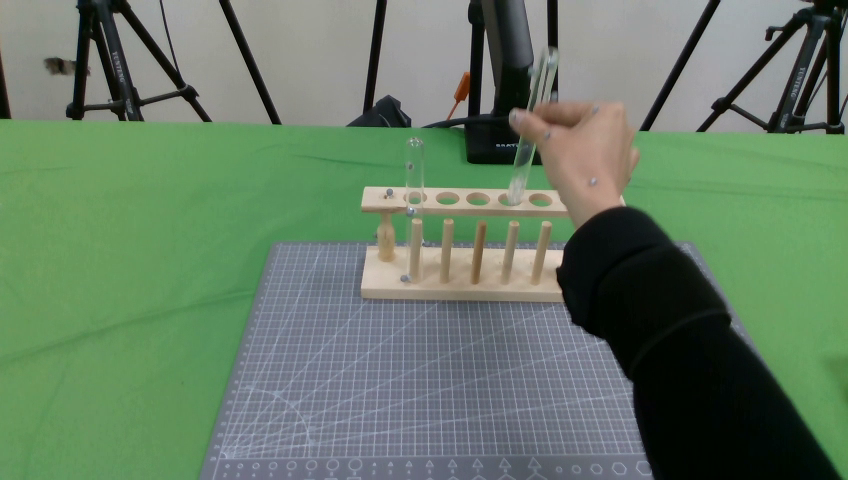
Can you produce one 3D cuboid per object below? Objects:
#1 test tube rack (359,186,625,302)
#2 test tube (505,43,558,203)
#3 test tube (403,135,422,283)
[{"bbox_3d":[0.061,0.004,0.572,0.242,0.086,0.066,1,38,0],"label":"test tube rack"},{"bbox_3d":[0.088,-0.092,0.509,0.017,0.151,0.017,4,42,-3],"label":"test tube"},{"bbox_3d":[-0.010,-0.023,0.531,0.017,0.152,0.017,1,37,0],"label":"test tube"}]
